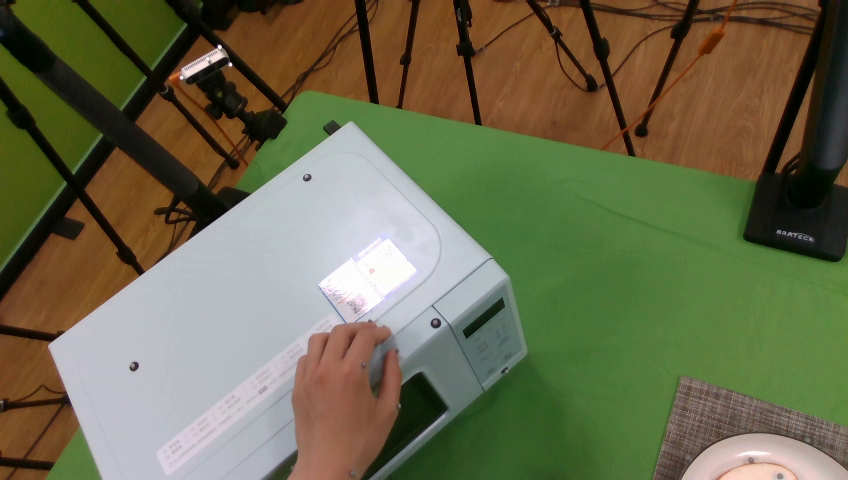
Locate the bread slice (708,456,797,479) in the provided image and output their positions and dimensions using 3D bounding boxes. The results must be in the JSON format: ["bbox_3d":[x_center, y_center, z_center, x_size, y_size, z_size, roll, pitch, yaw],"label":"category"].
[{"bbox_3d":[0.365,0.300,0.649,0.105,0.019,0.130,-11,60,7],"label":"bread slice"}]

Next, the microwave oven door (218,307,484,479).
[{"bbox_3d":[-0.096,0.233,0.668,0.355,0.246,0.039,-39,58,-8],"label":"microwave oven door"}]

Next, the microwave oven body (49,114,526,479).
[{"bbox_3d":[-0.148,0.120,0.752,0.441,0.263,0.322,-39,60,-8],"label":"microwave oven body"}]

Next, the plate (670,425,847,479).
[{"bbox_3d":[0.365,0.306,0.644,0.207,0.039,0.206,-6,60,11],"label":"plate"}]

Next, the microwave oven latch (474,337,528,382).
[{"bbox_3d":[0.099,0.148,0.786,0.079,0.030,0.030,-37,60,-7],"label":"microwave oven latch"}]
